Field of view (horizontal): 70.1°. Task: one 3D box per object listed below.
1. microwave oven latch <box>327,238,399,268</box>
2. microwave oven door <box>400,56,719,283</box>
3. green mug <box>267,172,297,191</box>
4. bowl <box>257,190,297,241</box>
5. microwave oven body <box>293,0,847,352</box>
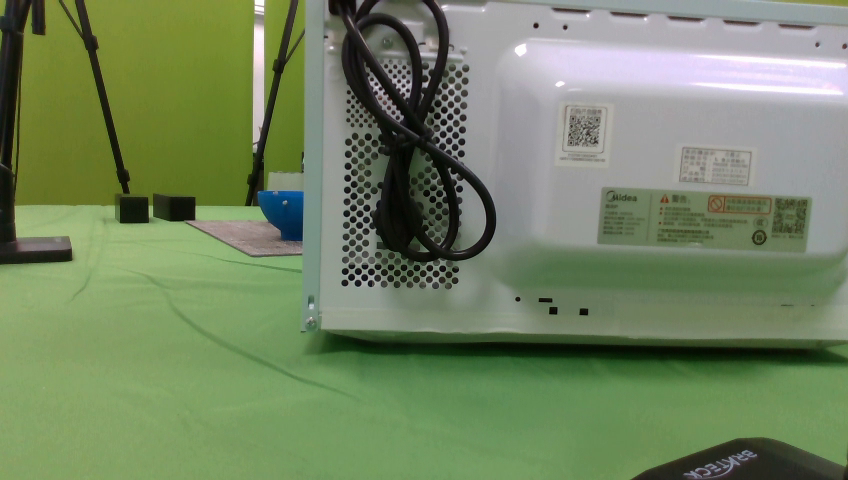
[{"bbox_3d":[-0.069,0.015,0.694,0.079,0.029,0.030,3,7,-3],"label":"microwave oven latch"},{"bbox_3d":[0.155,-0.077,0.697,0.356,0.243,0.039,2,8,-5],"label":"microwave oven door"},{"bbox_3d":[-0.277,-0.090,1.276,0.092,0.105,0.126,6,8,25],"label":"green mug"},{"bbox_3d":[-0.207,-0.041,1.027,0.151,0.077,0.151,3,8,0],"label":"bowl"},{"bbox_3d":[0.122,-0.055,0.550,0.442,0.260,0.325,3,7,-5],"label":"microwave oven body"}]
